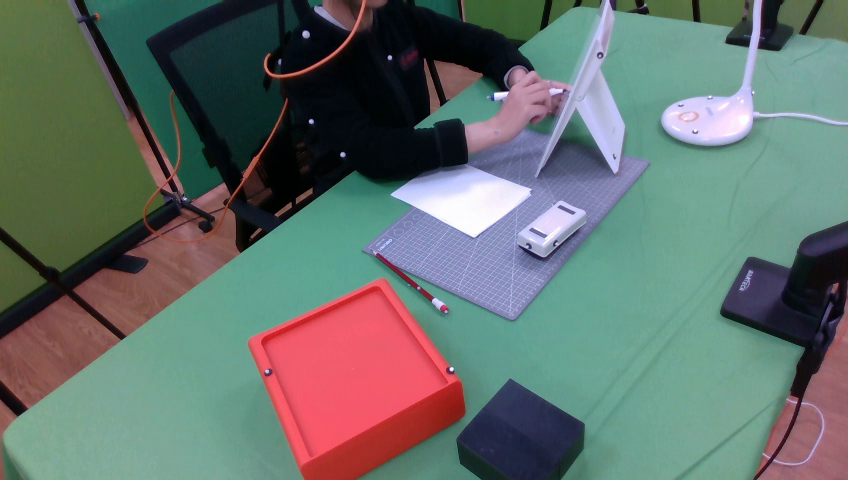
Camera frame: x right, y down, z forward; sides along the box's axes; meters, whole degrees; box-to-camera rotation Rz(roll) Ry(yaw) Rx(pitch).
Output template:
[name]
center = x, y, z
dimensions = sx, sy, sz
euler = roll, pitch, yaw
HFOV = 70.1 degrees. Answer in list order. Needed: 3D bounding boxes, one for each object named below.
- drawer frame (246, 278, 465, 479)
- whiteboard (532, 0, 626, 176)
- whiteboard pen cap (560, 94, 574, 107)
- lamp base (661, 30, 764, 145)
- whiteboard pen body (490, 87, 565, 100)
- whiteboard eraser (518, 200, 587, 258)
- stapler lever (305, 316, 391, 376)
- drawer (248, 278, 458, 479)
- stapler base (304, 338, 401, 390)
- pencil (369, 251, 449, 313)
[drawer frame]
center = -0.088, 0.168, 0.752
dimensions = 0.202, 0.083, 0.211
euler = -24, 43, -18
[whiteboard]
center = 0.321, -0.258, 1.050
dimensions = 0.144, 0.306, 0.217
euler = 21, 45, 5
[whiteboard pen cap]
center = 0.301, -0.293, 1.272
dimensions = 0.018, 0.018, 0.033
euler = 26, 50, 34
[lamp base]
center = 0.535, -0.287, 1.096
dimensions = 0.179, 0.181, 0.159
euler = -10, 40, -4
[whiteboard pen body]
center = 0.193, -0.273, 1.124
dimensions = 0.140, 0.017, 0.017
euler = -3, 41, 6
[whiteboard eraser]
center = 0.201, -0.016, 0.943
dimensions = 0.113, 0.042, 0.055
euler = -37, 46, -29
[stapler lever]
center = -0.100, 0.136, 0.790
dimensions = 0.118, 0.040, 0.026
euler = -23, 44, -12
[drawer]
center = -0.092, 0.167, 0.756
dimensions = 0.195, 0.073, 0.210
euler = -24, 43, -18
[stapler base]
center = -0.096, 0.160, 0.813
dimensions = 0.131, 0.024, 0.041
euler = -17, 42, -17
[pencil]
center = -0.028, 0.060, 0.924
dimensions = 0.012, 0.012, 0.192
euler = -33, 46, -25
